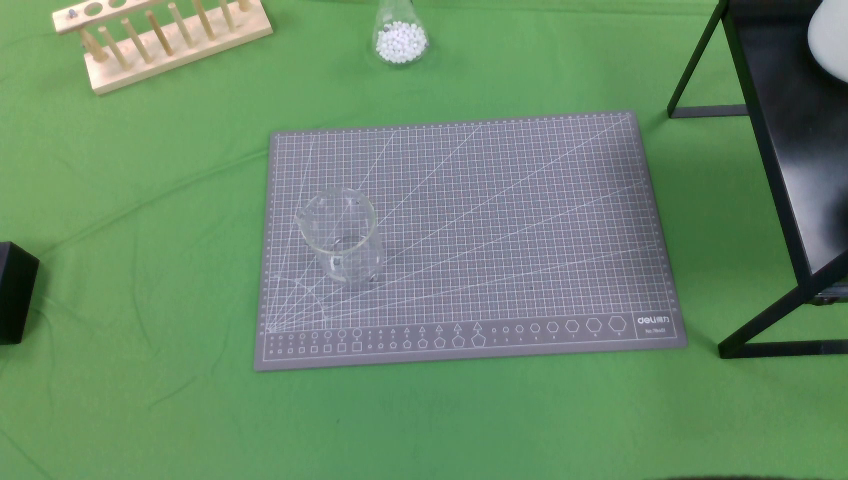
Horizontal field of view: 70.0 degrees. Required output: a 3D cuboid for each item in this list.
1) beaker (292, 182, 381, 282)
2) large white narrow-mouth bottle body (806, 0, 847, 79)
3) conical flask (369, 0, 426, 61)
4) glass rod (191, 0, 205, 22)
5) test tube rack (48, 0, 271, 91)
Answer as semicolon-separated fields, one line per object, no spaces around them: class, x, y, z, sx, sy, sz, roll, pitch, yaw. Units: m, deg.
beaker;-0.087;-0.004;0.634;0.084;0.101;0.073;6;66;6
large white narrow-mouth bottle body;0.390;-0.218;0.465;0.102;0.196;0.101;-1;66;4
conical flask;-0.038;-0.288;0.750;0.075;0.123;0.075;-1;65;3
glass rod;-0.307;-0.349;0.734;0.008;0.201;0.008;-2;58;4
test tube rack;-0.333;-0.283;0.779;0.242;0.086;0.066;-23;67;-8
